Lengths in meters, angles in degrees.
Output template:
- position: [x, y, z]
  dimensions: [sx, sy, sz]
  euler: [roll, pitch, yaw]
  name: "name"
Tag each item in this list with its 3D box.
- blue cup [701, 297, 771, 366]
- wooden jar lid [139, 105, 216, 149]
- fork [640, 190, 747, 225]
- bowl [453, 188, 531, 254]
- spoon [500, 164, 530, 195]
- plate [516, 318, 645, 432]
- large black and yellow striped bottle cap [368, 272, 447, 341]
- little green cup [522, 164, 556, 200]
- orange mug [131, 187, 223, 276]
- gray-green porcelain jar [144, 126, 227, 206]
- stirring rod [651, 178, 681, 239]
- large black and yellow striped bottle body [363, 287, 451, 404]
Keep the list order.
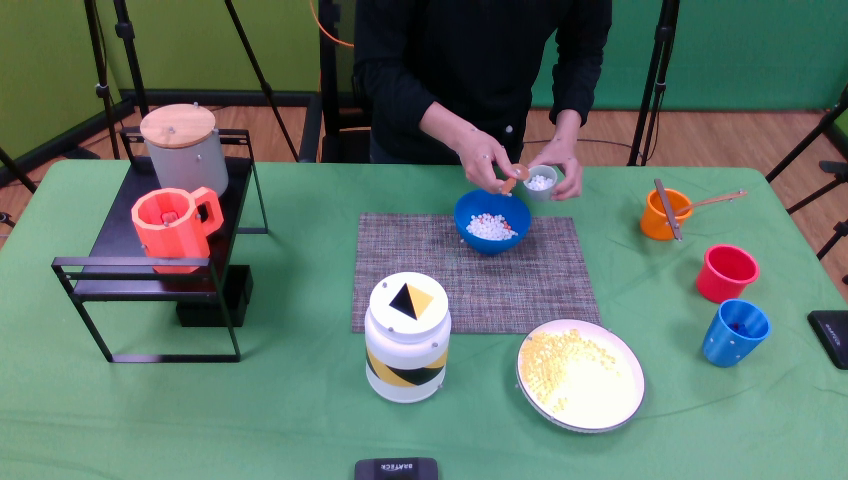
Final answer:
- position: [0.519, 0.162, 1.025]
  dimensions: [0.093, 0.101, 0.092]
  euler: [3, 45, -3]
  name: "blue cup"
- position: [-0.372, -0.169, 0.920]
  dimensions: [0.108, 0.021, 0.107]
  euler: [4, 44, -4]
  name: "wooden jar lid"
- position: [0.533, -0.065, 1.211]
  dimensions: [0.207, 0.019, 0.028]
  euler: [-22, 28, 39]
  name: "fork"
- position: [0.128, -0.025, 1.187]
  dimensions: [0.151, 0.077, 0.150]
  euler: [3, 45, -2]
  name: "bowl"
- position: [0.149, -0.103, 1.016]
  dimensions: [0.041, 0.022, 0.193]
  euler: [29, 21, 8]
  name: "spoon"
- position: [0.253, 0.221, 0.993]
  dimensions: [0.209, 0.038, 0.208]
  euler: [2, 46, -2]
  name: "plate"
- position: [-0.023, 0.093, 0.875]
  dimensions: [0.115, 0.019, 0.114]
  euler: [3, 46, -3]
  name: "large black and yellow striped bottle cap"
- position: [0.212, -0.106, 1.113]
  dimensions: [0.061, 0.039, 0.061]
  euler: [-8, 56, 13]
  name: "little green cup"
- position: [-0.354, -0.022, 0.888]
  dimensions: [0.083, 0.101, 0.126]
  euler: [31, 55, 24]
  name: "orange mug"
- position: [-0.375, -0.126, 0.967]
  dimensions: [0.106, 0.127, 0.105]
  euler: [2, 46, -2]
  name: "gray-green porcelain jar"
- position: [0.479, -0.065, 1.204]
  dimensions: [0.014, 0.006, 0.175]
  euler: [3, 46, -3]
  name: "stirring rod"
- position: [-0.027, 0.153, 0.935]
  dimensions: [0.131, 0.185, 0.130]
  euler: [2, 46, -2]
  name: "large black and yellow striped bottle body"
